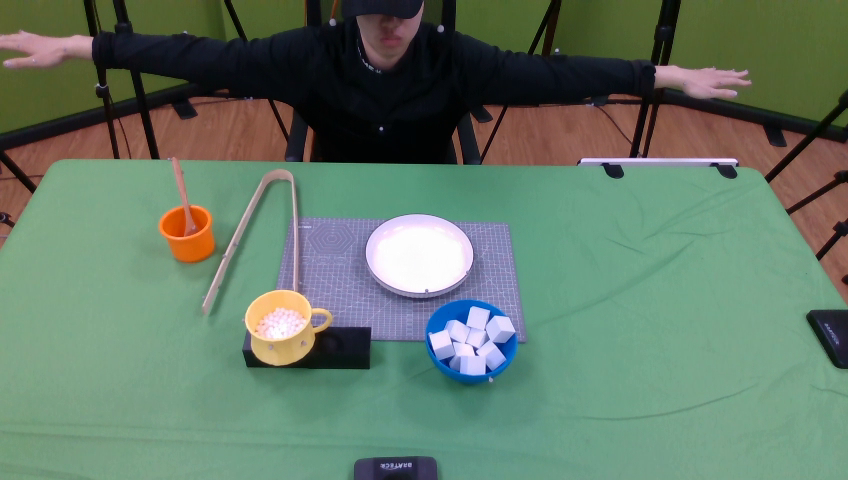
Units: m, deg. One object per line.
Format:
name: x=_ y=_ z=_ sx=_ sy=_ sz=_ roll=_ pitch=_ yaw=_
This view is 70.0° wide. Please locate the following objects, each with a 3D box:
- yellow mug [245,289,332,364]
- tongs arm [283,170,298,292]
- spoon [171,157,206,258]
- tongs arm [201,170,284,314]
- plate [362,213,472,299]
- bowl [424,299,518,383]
yellow mug: x=-0.210 y=0.133 z=0.954 sx=0.131 sy=0.064 sz=0.099 roll=-9 pitch=48 yaw=-14
tongs arm: x=-0.259 y=-0.008 z=1.177 sx=0.028 sy=0.028 sz=0.385 roll=-8 pitch=46 yaw=-6
spoon: x=-0.444 y=-0.061 z=1.133 sx=0.042 sy=0.193 sz=0.021 roll=-12 pitch=4 yaw=-20
tongs arm: x=-0.342 y=-0.011 z=1.172 sx=0.051 sy=0.026 sz=0.382 roll=4 pitch=44 yaw=2
plate: x=-0.014 y=0.034 z=1.150 sx=0.208 sy=0.039 sz=0.206 roll=3 pitch=46 yaw=-2
bowl: x=0.072 y=0.179 z=0.993 sx=0.151 sy=0.077 sz=0.150 roll=3 pitch=46 yaw=-3
